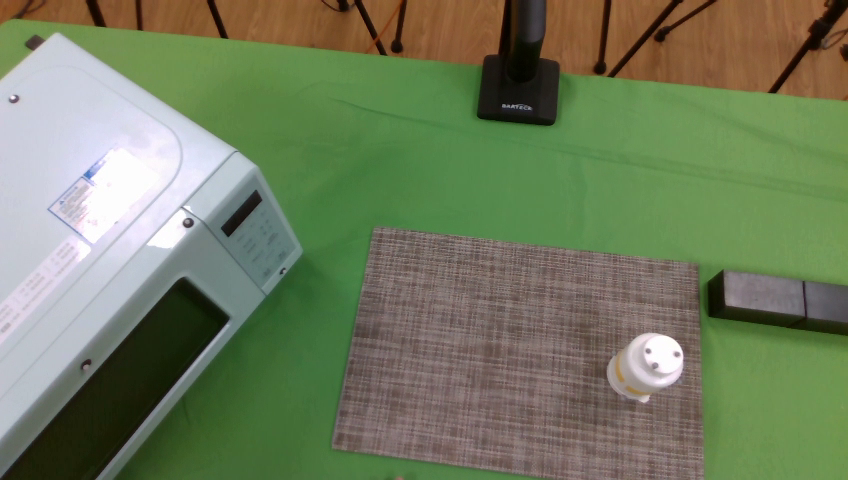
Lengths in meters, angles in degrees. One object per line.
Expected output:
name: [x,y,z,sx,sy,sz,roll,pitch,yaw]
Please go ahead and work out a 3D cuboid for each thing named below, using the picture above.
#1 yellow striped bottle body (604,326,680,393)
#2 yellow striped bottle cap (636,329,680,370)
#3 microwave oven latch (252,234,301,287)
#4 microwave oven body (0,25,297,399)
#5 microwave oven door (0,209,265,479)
yellow striped bottle body: [0.260,0.141,0.719,0.063,0.121,0.062,0,67,1]
yellow striped bottle cap: [0.259,0.121,0.671,0.044,0.019,0.044,-1,70,2]
microwave oven latch: [-0.197,0.023,0.801,0.030,0.030,0.079,35,73,13]
microwave oven body: [-0.421,0.043,0.691,0.324,0.262,0.440,33,73,12]
microwave oven door: [-0.326,0.150,0.641,0.039,0.245,0.355,32,72,14]
